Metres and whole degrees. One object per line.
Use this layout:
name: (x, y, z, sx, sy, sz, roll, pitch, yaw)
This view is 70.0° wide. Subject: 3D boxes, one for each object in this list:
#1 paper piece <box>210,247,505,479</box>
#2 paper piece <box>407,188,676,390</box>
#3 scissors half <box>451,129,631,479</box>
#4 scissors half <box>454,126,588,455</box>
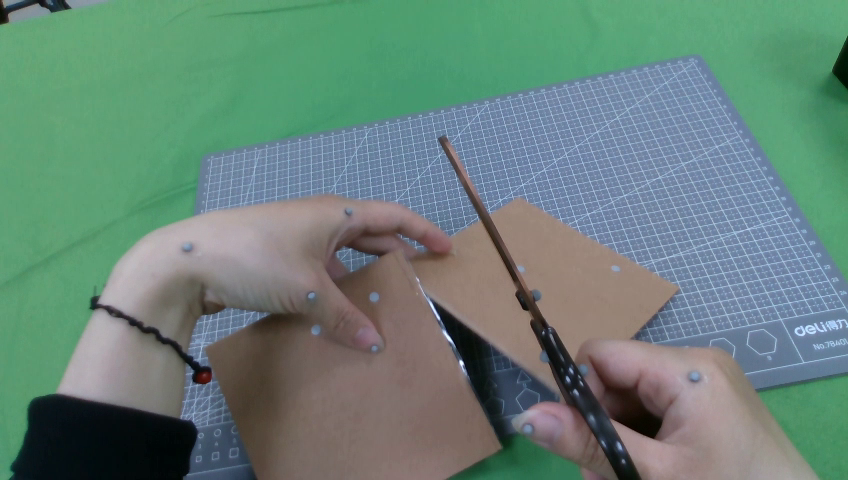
paper piece: (-0.044, 0.090, 0.360, 0.138, 0.009, 0.135, -27, 70, 0)
paper piece: (0.075, 0.023, 0.392, 0.134, 0.004, 0.136, 36, 48, 29)
scissors half: (0.049, 0.036, 0.241, 0.013, 0.040, 0.175, -26, 93, 3)
scissors half: (0.050, 0.032, 0.260, 0.013, 0.176, 0.040, -24, 18, 8)
